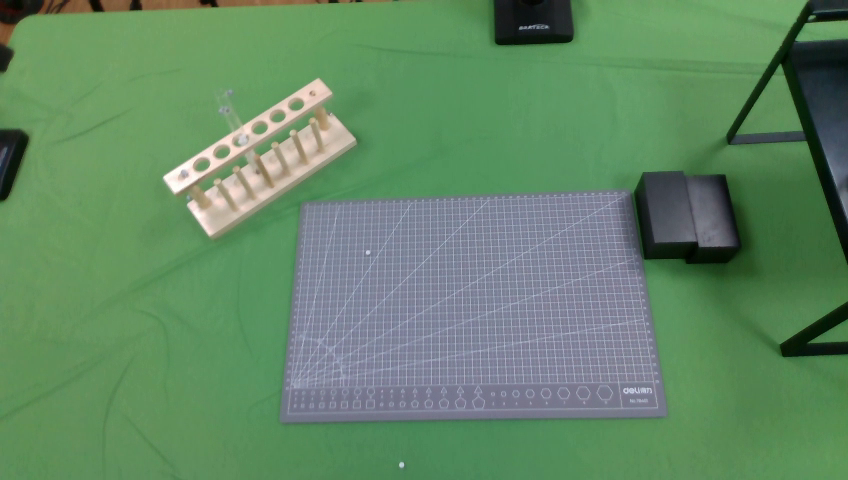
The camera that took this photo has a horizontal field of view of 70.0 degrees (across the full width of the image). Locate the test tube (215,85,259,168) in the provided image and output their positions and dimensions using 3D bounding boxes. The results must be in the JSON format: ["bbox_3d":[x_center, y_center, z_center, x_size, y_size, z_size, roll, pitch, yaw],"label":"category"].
[{"bbox_3d":[-0.238,-0.143,0.785,0.017,0.151,0.017,-1,60,2],"label":"test tube"}]

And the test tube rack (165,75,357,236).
[{"bbox_3d":[-0.215,-0.114,0.826,0.242,0.086,0.066,-36,68,-12],"label":"test tube rack"}]
